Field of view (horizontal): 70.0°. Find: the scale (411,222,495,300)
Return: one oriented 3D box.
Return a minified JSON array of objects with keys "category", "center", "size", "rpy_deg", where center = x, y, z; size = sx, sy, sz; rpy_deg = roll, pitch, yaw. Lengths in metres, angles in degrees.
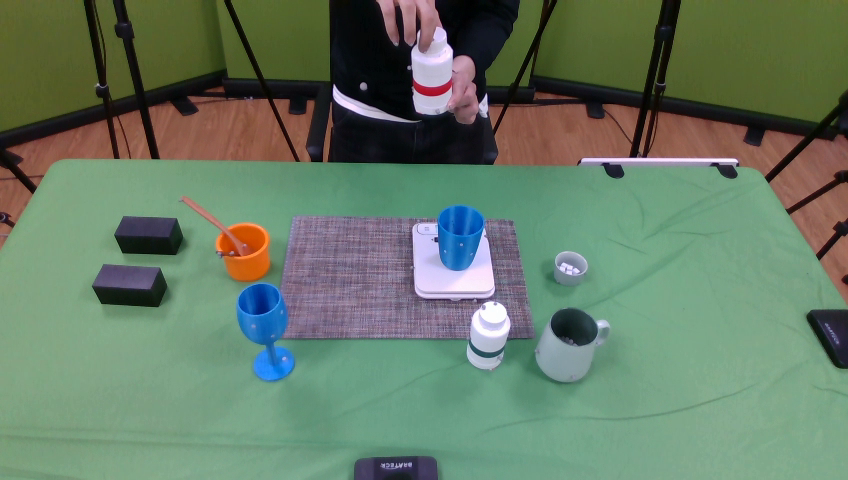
[{"category":"scale","center":[0.052,0.031,1.158],"size":[0.149,0.032,0.199],"rpy_deg":[1,46,-4]}]

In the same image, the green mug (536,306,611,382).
[{"category":"green mug","center":[0.250,0.167,0.996],"size":[0.125,0.105,0.092],"rpy_deg":[-15,48,-19]}]

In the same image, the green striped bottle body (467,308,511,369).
[{"category":"green striped bottle body","center":[0.106,0.154,0.988],"size":[0.063,0.120,0.063],"rpy_deg":[2,46,-2]}]

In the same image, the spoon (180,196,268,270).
[{"category":"spoon","center":[-0.360,-0.014,1.094],"size":[0.021,0.194,0.041],"rpy_deg":[-27,26,31]}]

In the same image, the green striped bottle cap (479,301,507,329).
[{"category":"green striped bottle cap","center":[0.109,0.118,0.950],"size":[0.044,0.020,0.044],"rpy_deg":[2,47,-2]}]

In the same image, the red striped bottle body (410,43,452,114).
[{"category":"red striped bottle body","center":[0.012,-0.259,0.931],"size":[0.063,0.120,0.062],"rpy_deg":[-1,52,2]}]

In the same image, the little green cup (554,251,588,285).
[{"category":"little green cup","center":[0.277,0.055,1.151],"size":[0.061,0.039,0.061],"rpy_deg":[1,46,-1]}]

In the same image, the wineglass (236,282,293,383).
[{"category":"wineglass","center":[-0.243,0.143,0.934],"size":[0.074,0.173,0.073],"rpy_deg":[2,46,-2]}]

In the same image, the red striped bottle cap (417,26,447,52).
[{"category":"red striped bottle cap","center":[0.012,-0.295,0.886],"size":[0.044,0.018,0.044],"rpy_deg":[-3,50,3]}]

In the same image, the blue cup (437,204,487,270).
[{"category":"blue cup","center":[0.063,0.001,1.098],"size":[0.093,0.101,0.092],"rpy_deg":[2,43,-2]}]

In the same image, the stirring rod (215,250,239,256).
[{"category":"stirring rod","center":[-0.339,0.024,1.059],"size":[0.014,0.176,0.006],"rpy_deg":[17,86,-6]}]
